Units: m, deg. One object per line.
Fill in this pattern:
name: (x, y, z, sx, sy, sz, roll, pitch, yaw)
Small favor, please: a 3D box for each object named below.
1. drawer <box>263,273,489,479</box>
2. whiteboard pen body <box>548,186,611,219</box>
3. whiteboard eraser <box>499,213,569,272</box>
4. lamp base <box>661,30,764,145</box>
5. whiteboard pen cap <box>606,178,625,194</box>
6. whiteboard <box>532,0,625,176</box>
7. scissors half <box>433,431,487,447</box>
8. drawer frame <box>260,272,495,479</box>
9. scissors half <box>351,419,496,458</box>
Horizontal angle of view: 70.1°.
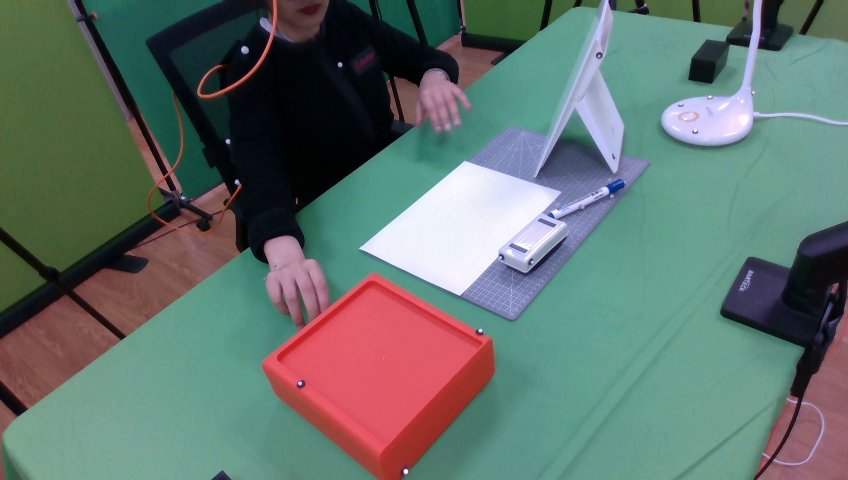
drawer: (-0.057, 0.159, 0.759, 0.210, 0.073, 0.195, 27, 51, 34)
whiteboard pen body: (0.267, -0.066, 1.004, 0.141, 0.017, 0.017, -25, 43, -13)
whiteboard eraser: (0.168, 0.006, 0.923, 0.055, 0.042, 0.113, 29, 53, 34)
lamp base: (0.535, -0.287, 1.096, 0.179, 0.181, 0.159, -10, 40, -4)
whiteboard pen cap: (0.320, -0.090, 1.016, 0.033, 0.018, 0.018, -27, 43, -14)
whiteboard: (0.320, -0.259, 1.050, 0.144, 0.306, 0.217, 21, 45, 5)
scissors half: (0.000, 0.234, 0.706, 0.176, 0.040, 0.012, 12, 26, -25)
drawer frame: (-0.055, 0.159, 0.758, 0.212, 0.083, 0.202, 26, 50, 33)
scissors half: (0.003, 0.224, 0.700, 0.176, 0.040, 0.012, -4, 39, -17)
